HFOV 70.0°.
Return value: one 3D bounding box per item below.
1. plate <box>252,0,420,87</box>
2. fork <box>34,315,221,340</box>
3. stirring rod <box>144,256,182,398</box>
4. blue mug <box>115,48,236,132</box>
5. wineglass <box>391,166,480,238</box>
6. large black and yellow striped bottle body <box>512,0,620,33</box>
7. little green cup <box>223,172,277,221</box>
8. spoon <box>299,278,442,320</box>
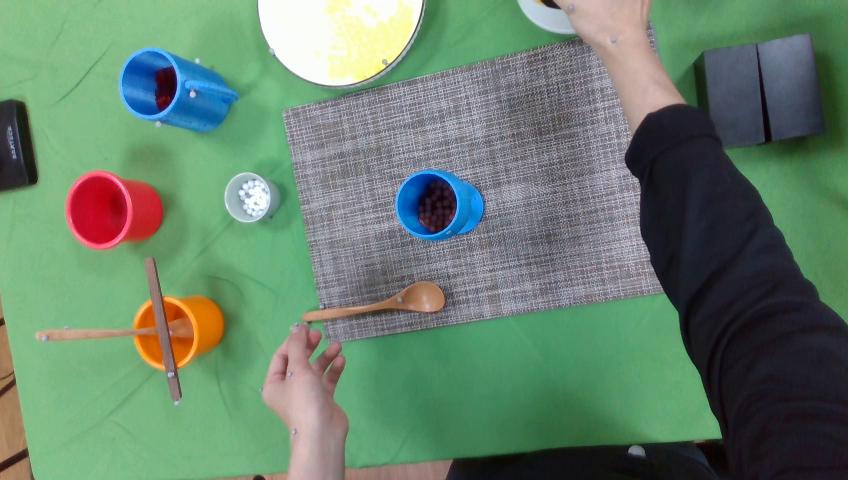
[{"bbox_3d":[-0.104,-0.287,0.728,0.208,0.038,0.209,1,94,12],"label":"plate"},{"bbox_3d":[-0.360,0.111,0.750,0.208,0.018,0.028,1,101,-32],"label":"fork"},{"bbox_3d":[-0.319,0.106,0.738,0.014,0.006,0.176,-11,91,13],"label":"stirring rod"},{"bbox_3d":[-0.290,-0.180,0.739,0.116,0.106,0.082,3,94,11],"label":"blue mug"},{"bbox_3d":[0.018,-0.039,0.645,0.073,0.172,0.074,1,93,12],"label":"wineglass"},{"bbox_3d":[0.137,-0.303,0.585,0.130,0.185,0.130,-2,79,14],"label":"large black and yellow striped bottle body"},{"bbox_3d":[-0.218,-0.055,0.766,0.061,0.038,0.061,1,94,12],"label":"little green cup"},{"bbox_3d":[-0.070,0.078,0.748,0.193,0.021,0.042,-12,114,12],"label":"spoon"}]
